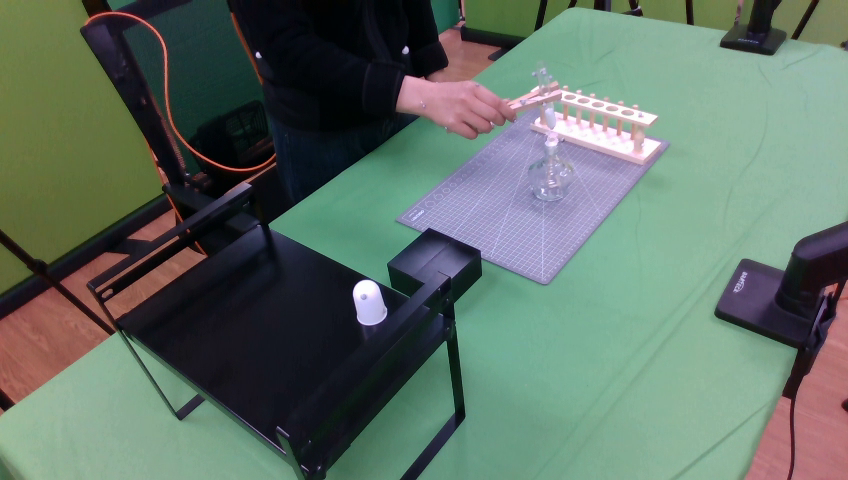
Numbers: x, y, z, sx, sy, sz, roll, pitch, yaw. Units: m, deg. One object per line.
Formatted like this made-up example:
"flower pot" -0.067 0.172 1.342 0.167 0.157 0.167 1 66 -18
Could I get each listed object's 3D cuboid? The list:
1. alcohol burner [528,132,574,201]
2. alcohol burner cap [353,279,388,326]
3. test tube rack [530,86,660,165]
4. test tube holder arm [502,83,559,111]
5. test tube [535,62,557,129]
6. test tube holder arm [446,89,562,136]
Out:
"alcohol burner" 0.214 -0.126 1.016 0.078 0.119 0.077 -5 39 5
"alcohol burner cap" -0.056 0.061 0.616 0.034 0.048 0.033 -4 41 4
"test tube rack" 0.320 -0.226 1.140 0.240 0.085 0.067 27 51 34
"test tube holder arm" 0.158 -0.209 0.899 0.088 0.015 0.010 -24 56 6
"test tube" 0.183 -0.211 0.899 0.017 0.151 0.017 -7 65 16
"test tube holder arm" 0.118 -0.189 0.903 0.178 0.015 0.013 -18 57 10
